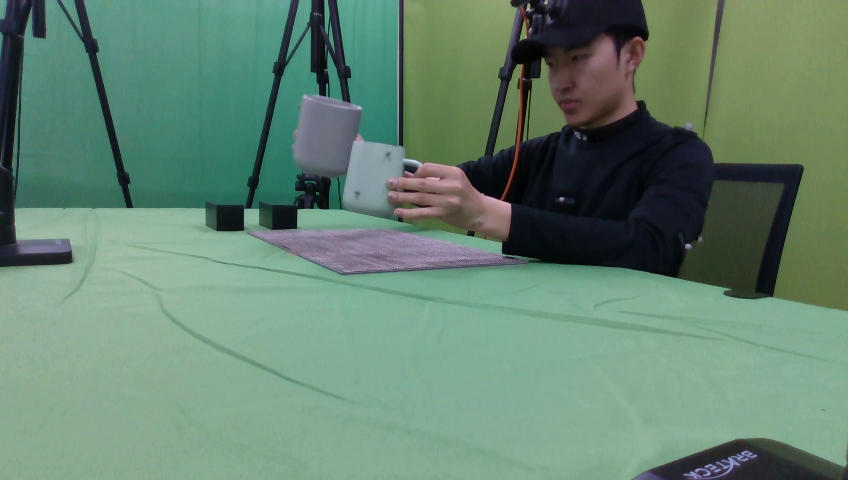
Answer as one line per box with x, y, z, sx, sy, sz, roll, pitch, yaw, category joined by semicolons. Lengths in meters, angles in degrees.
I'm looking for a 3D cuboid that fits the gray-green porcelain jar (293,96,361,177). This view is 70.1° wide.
-0.175;-0.183;1.073;0.106;0.126;0.106;12;16;-3;gray-green porcelain jar

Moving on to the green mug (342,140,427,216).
-0.057;-0.091;0.903;0.125;0.105;0.092;8;9;9;green mug
